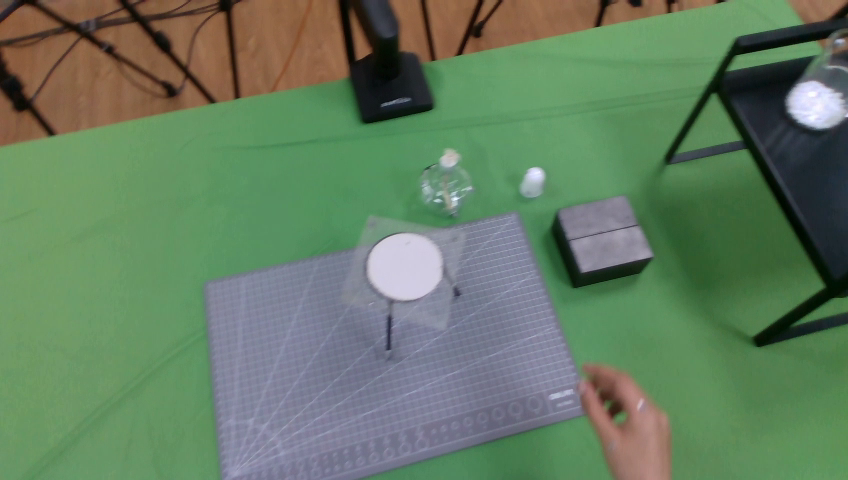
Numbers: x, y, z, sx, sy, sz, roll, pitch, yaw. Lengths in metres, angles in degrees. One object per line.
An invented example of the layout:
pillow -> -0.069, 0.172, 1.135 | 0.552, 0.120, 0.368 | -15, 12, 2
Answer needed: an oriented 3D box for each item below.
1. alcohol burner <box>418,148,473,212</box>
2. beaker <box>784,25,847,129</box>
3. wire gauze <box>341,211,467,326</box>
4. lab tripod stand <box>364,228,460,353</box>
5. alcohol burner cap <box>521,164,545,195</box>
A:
alcohol burner -> 0.030, -0.090, 0.841 | 0.078, 0.120, 0.077 | 1, 62, -2
beaker -> 0.475, -0.183, 0.703 | 0.084, 0.101, 0.073 | -17, 64, -9
wire gauze -> -0.020, 0.028, 0.691 | 0.125, 0.011, 0.120 | 13, 63, 5
lab tripod stand -> -0.021, 0.053, 0.753 | 0.148, 0.132, 0.147 | 1, 61, -1
alcohol burner cap -> 0.161, -0.090, 0.884 | 0.034, 0.048, 0.033 | 0, 63, 0
